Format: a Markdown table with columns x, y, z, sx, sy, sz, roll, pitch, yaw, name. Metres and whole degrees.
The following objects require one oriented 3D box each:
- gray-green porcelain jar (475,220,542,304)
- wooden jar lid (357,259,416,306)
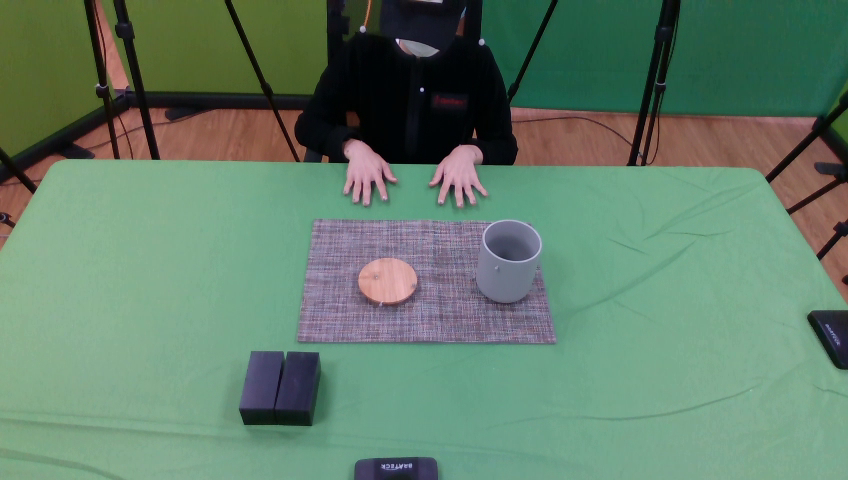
| x | y | z | sx | sy | sz | roll | pitch | yaw | name |
| --- | --- | --- | --- | --- | --- | --- | --- | --- | --- |
| 0.148 | 0.044 | 1.090 | 0.106 | 0.127 | 0.105 | 2 | 46 | -2 | gray-green porcelain jar |
| -0.069 | 0.079 | 1.113 | 0.108 | 0.021 | 0.107 | 3 | 46 | -3 | wooden jar lid |
